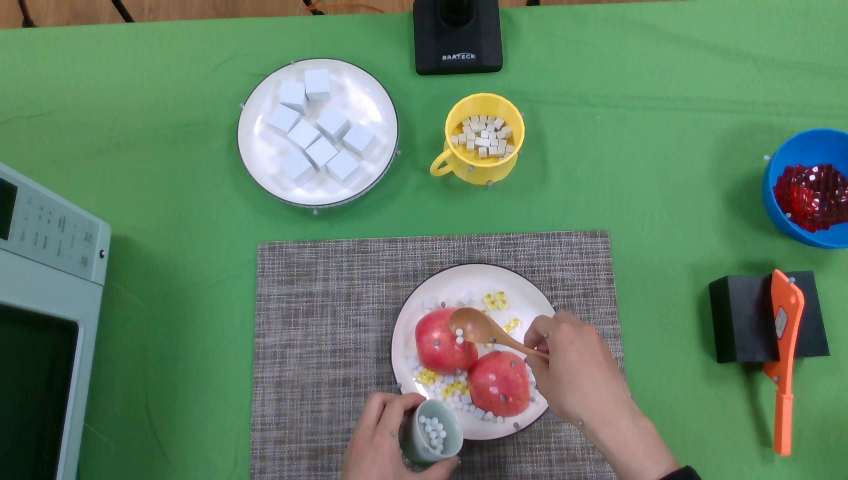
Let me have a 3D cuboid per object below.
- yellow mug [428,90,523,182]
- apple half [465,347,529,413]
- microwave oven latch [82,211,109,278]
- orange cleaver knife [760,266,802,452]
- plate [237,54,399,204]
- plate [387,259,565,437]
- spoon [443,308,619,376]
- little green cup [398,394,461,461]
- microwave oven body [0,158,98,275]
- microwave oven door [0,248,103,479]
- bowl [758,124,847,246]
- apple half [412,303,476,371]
[{"bbox_3d":[0.060,-0.124,0.774,0.131,0.064,0.099,-33,77,-7],"label":"yellow mug"},{"bbox_3d":[0.086,0.163,0.708,0.081,0.033,0.081,0,73,1],"label":"apple half"},{"bbox_3d":[-0.407,0.005,0.738,0.030,0.029,0.079,3,77,0],"label":"microwave oven latch"},{"bbox_3d":[0.408,0.137,0.701,0.012,0.077,0.212,-1,100,4],"label":"orange cleaver knife"},{"bbox_3d":[-0.136,-0.143,0.794,0.208,0.039,0.206,0,76,0],"label":"plate"},{"bbox_3d":[0.060,0.127,0.723,0.209,0.038,0.208,0,77,0],"label":"plate"},{"bbox_3d":[0.106,0.108,0.629,0.192,0.042,0.021,19,57,30],"label":"spoon"},{"bbox_3d":[0.004,0.196,0.627,0.062,0.039,0.061,20,40,-17],"label":"little green cup"},{"bbox_3d":[-0.559,0.149,0.604,0.326,0.261,0.439,1,77,0],"label":"microwave oven body"},{"bbox_3d":[-0.414,0.192,0.588,0.039,0.245,0.354,1,76,1],"label":"microwave oven door"},{"bbox_3d":[0.479,-0.058,0.751,0.151,0.077,0.150,0,76,1],"label":"bowl"},{"bbox_3d":[0.023,0.113,0.710,0.074,0.053,0.080,-4,77,1],"label":"apple half"}]
